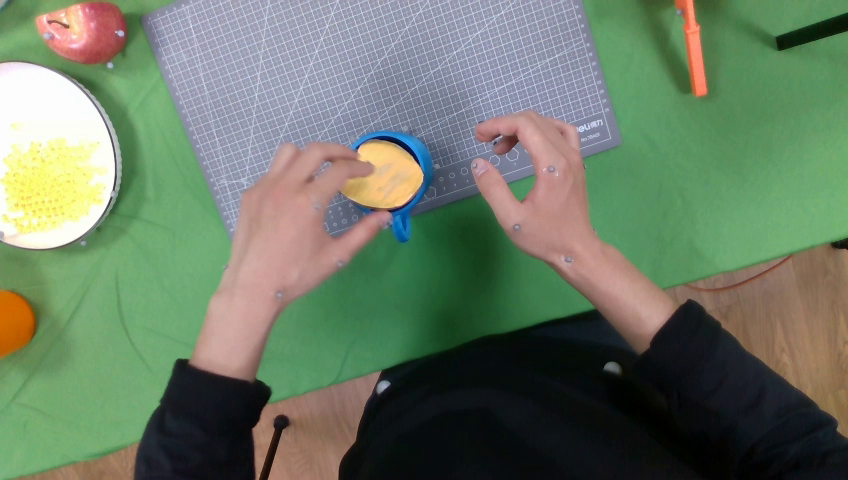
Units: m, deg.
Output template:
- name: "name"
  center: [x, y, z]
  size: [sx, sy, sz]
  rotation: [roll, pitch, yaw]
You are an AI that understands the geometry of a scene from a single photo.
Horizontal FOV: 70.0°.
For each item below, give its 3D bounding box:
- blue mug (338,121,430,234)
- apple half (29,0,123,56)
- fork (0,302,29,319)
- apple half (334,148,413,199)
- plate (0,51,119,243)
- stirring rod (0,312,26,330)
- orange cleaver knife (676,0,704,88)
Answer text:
- name: "blue mug"
  center: [-0.035, -0.063, 0.624]
  size: [0.082, 0.105, 0.117]
  rotation: [-9, 101, 6]
- name: "apple half"
  center: [-0.354, -0.220, 0.630]
  size: [0.081, 0.074, 0.053]
  rotation: [-15, 104, 3]
- name: "fork"
  center: [-0.560, 0.099, 0.670]
  size: [0.208, 0.018, 0.028]
  rotation: [-10, 103, -39]
- name: "apple half"
  center: [-0.051, -0.057, 0.585]
  size: [0.081, 0.081, 0.033]
  rotation: [23, 115, -1]
- name: "plate"
  center: [-0.439, -0.102, 0.677]
  size: [0.209, 0.038, 0.210]
  rotation: [1, 102, 4]
- name: "stirring rod"
  center: [-0.546, 0.114, 0.674]
  size: [0.177, 0.006, 0.014]
  rotation: [-18, 90, -34]
- name: "orange cleaver knife"
  center: [0.247, -0.250, 0.582]
  size: [0.012, 0.076, 0.213]
  rotation: [-15, 127, 15]
